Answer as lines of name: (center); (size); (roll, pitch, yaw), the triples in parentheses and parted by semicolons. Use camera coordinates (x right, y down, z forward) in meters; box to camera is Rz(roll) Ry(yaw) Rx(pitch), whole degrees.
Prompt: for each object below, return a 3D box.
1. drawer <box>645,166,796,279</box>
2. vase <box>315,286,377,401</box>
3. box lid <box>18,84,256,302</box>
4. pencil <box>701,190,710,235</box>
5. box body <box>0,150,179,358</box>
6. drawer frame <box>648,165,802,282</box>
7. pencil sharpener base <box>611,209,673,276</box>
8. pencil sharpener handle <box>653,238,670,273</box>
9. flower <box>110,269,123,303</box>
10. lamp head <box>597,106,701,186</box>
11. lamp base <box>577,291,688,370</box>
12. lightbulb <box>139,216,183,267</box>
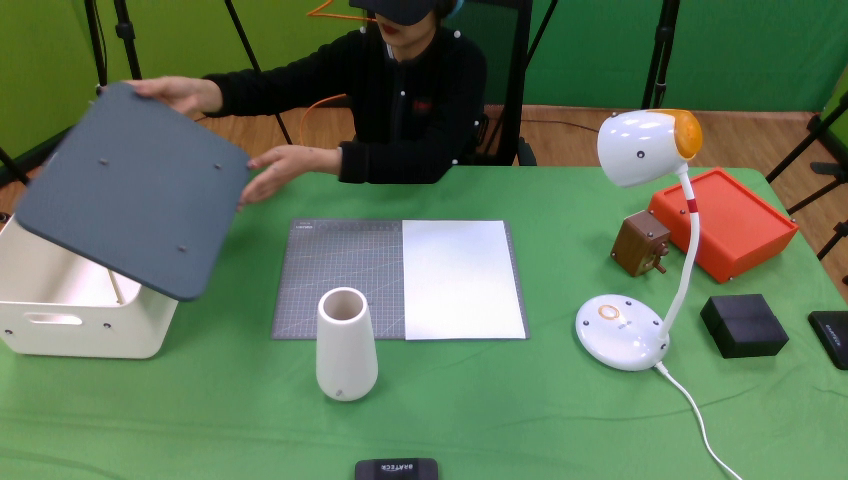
drawer: (0.600, -0.041, 1.236); (0.195, 0.073, 0.210); (-21, 51, -23)
vase: (-0.119, 0.159, 0.911); (0.098, 0.201, 0.097); (2, 47, -2)
box lid: (-0.420, -0.089, 0.957); (0.264, 0.015, 0.369); (32, 36, -25)
pencil: (0.584, -0.059, 1.256); (0.012, 0.012, 0.193); (16, 34, 11)
box body: (-0.546, 0.017, 1.045); (0.254, 0.161, 0.361); (2, 46, -2)
drawer frame: (0.603, -0.040, 1.233); (0.202, 0.083, 0.212); (-21, 51, -23)
pencil sharpener base: (0.416, 0.007, 1.158); (0.061, 0.107, 0.076); (-21, 51, -22)
pencil sharpener handle: (0.444, 0.030, 1.120); (0.036, 0.068, 0.030); (-25, 52, -18)
flower: (-0.558, 0.069, 1.088); (0.044, 0.038, 0.359); (-26, 48, -18)
lamp head: (0.329, -0.138, 0.865); (0.112, 0.113, 0.122); (-36, 20, -32)
lamp base: (0.361, 0.110, 1.003); (0.160, 0.181, 0.178); (-31, 57, -29)
lightbulb: (-0.495, 0.003, 1.131); (0.059, 0.060, 0.107); (18, 63, 13)
